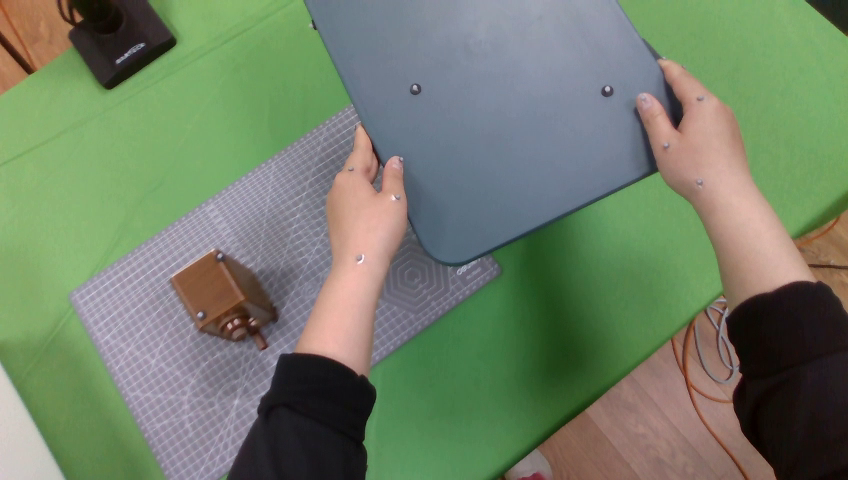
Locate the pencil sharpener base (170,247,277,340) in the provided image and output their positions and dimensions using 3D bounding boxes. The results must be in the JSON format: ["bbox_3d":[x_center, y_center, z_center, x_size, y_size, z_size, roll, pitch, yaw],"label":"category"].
[{"bbox_3d":[-0.220,0.065,0.678,0.061,0.107,0.076,-35,74,-6],"label":"pencil sharpener base"}]

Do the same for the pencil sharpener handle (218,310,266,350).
[{"bbox_3d":[-0.191,0.101,0.653,0.036,0.068,0.030,-35,74,-4],"label":"pencil sharpener handle"}]

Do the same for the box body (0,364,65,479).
[{"bbox_3d":[-0.530,0.295,0.616,0.254,0.161,0.362,-39,74,-7],"label":"box body"}]

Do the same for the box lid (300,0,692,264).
[{"bbox_3d":[0.048,-0.186,0.568,0.263,0.015,0.369,-26,76,-1],"label":"box lid"}]
